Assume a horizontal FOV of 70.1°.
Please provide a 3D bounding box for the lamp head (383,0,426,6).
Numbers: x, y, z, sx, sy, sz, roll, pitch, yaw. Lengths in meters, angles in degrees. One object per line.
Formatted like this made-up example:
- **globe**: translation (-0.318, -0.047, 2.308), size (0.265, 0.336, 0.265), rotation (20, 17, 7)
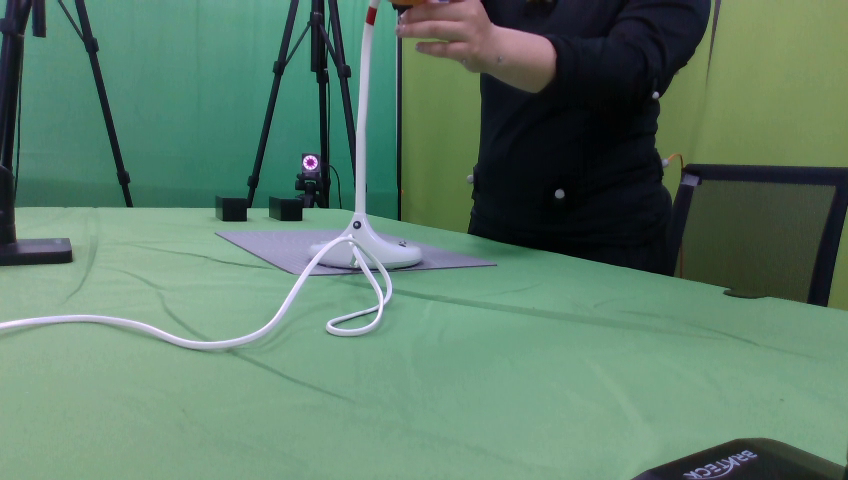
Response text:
- **lamp head**: translation (-0.025, -0.325, 0.671), size (0.112, 0.123, 0.112), rotation (4, 3, 0)

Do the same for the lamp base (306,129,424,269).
- **lamp base**: translation (-0.077, -0.057, 0.810), size (0.161, 0.180, 0.179), rotation (2, 10, -4)
